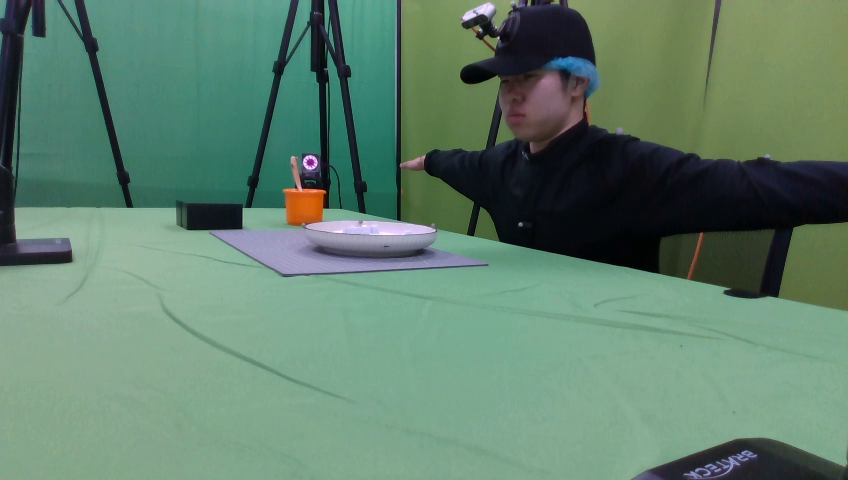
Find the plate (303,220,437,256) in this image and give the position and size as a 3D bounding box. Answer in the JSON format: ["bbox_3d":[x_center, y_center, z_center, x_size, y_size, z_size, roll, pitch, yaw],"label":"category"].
[{"bbox_3d":[-0.084,-0.003,0.951,0.209,0.038,0.209,3,7,0],"label":"plate"}]

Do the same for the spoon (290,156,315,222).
[{"bbox_3d":[-0.274,-0.116,1.329,0.042,0.021,0.193,-3,49,-25],"label":"spoon"}]

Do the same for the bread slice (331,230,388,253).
[{"bbox_3d":[-0.088,0.000,0.947,0.105,0.019,0.131,-4,11,-44],"label":"bread slice"}]
